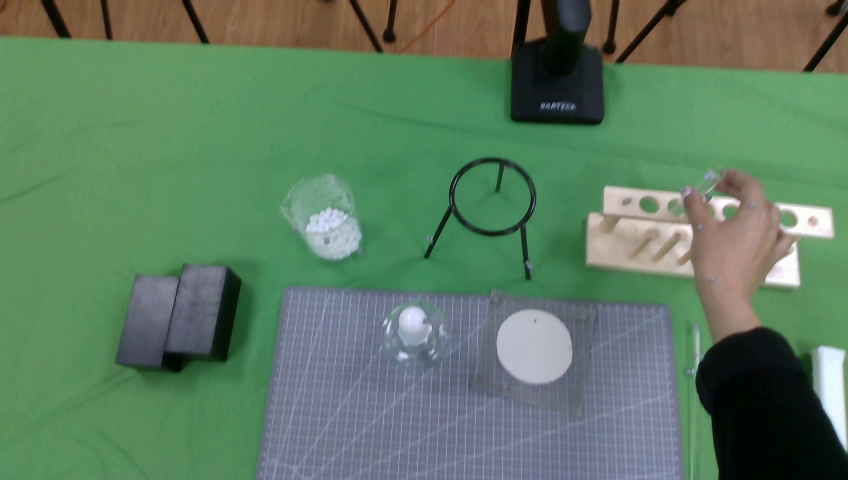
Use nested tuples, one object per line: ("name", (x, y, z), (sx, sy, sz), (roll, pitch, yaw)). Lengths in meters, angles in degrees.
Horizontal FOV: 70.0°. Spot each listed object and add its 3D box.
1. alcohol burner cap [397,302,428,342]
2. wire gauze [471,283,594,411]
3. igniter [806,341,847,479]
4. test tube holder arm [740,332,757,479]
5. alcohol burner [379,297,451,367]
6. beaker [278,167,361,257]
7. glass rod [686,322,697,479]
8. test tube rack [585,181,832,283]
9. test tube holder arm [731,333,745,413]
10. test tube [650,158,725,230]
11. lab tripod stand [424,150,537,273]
("alcohol burner cap", (-0.012, 0.079, 0.605), (0.034, 0.048, 0.033), (0, 63, 0))
("wire gauze", (0.124, 0.118, 0.684), (0.125, 0.011, 0.121), (14, 72, 5))
("igniter", (0.418, 0.242, 0.626), (0.057, 0.025, 0.275), (12, 71, -5))
("test tube holder arm", (0.348, 0.188, 0.650), (0.013, 0.015, 0.177), (-9, 66, 36))
("alcohol burner", (-0.011, 0.093, 0.639), (0.078, 0.120, 0.077), (-1, 70, 3))
("beaker", (-0.114, -0.027, 0.695), (0.084, 0.101, 0.073), (-5, 69, 0))
("glass rod", (0.291, 0.187, 0.658), (0.008, 0.008, 0.198), (8, 73, 4))
("test tube rack", (0.315, -0.008, 0.687), (0.242, 0.086, 0.066), (6, 70, 3))
("test tube holder arm", (0.348, 0.146, 0.668), (0.010, 0.015, 0.087), (-8, 66, 36))
("test tube", (0.278, -0.045, 0.650), (0.017, 0.151, 0.017), (1, 68, -3))
("lab tripod stand", (0.068, -0.027, 0.674), (0.148, 0.132, 0.147), (0, 72, 2))
